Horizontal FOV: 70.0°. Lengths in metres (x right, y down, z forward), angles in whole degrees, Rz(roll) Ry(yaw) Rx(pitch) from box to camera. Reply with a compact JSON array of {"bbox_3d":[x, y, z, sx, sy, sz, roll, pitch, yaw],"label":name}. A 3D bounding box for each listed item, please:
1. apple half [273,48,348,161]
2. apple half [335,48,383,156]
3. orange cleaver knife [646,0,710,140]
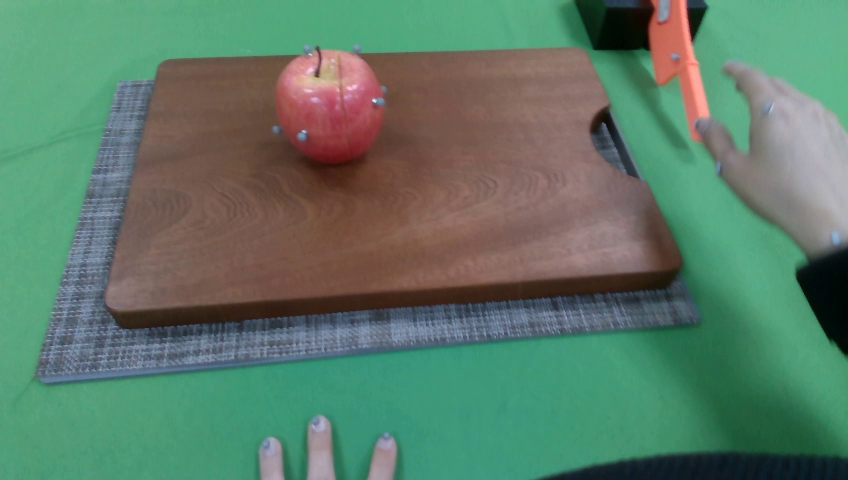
[{"bbox_3d":[-0.087,-0.101,0.463,0.053,0.075,0.080,-6,57,-4],"label":"apple half"},{"bbox_3d":[-0.048,-0.106,0.468,0.033,0.082,0.080,-7,53,-4],"label":"apple half"},{"bbox_3d":[0.238,-0.186,0.580,0.012,0.077,0.210,0,75,-7],"label":"orange cleaver knife"}]
